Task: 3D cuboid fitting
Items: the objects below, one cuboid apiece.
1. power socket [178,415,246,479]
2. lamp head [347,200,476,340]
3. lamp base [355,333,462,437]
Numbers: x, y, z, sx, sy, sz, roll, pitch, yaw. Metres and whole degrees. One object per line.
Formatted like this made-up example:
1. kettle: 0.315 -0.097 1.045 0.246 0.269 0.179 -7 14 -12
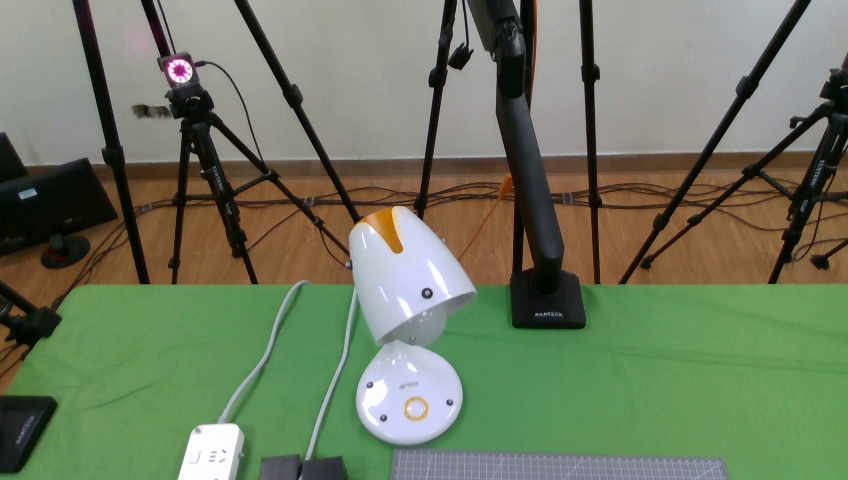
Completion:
1. power socket: -0.294 0.337 0.808 0.072 0.033 0.224 -2 44 1
2. lamp head: -0.023 0.024 0.601 0.112 0.113 0.122 -23 71 -18
3. lamp base: -0.034 0.160 0.864 0.161 0.182 0.177 -21 44 -16
